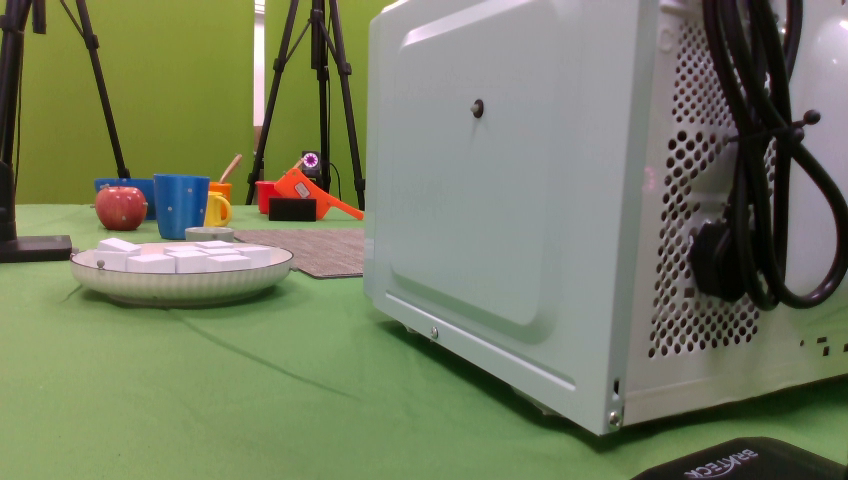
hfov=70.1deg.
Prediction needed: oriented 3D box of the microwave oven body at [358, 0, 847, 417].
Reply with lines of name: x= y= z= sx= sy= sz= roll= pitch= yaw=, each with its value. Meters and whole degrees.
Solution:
microwave oven body: x=0.211 y=-0.047 z=0.474 sx=0.444 sy=0.260 sz=0.324 roll=-1 pitch=7 yaw=-28

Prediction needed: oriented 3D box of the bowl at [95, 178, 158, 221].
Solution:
bowl: x=-0.576 y=-0.081 z=1.217 sx=0.151 sy=0.077 sz=0.151 roll=3 pitch=8 yaw=0

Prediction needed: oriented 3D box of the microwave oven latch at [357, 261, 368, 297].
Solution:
microwave oven latch: x=-0.019 y=0.033 z=0.530 sx=0.079 sy=0.029 sz=0.030 roll=-1 pitch=7 yaw=-27

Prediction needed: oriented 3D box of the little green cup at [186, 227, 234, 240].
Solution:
little green cup: x=-0.284 y=0.005 z=0.805 sx=0.061 sy=0.038 sz=0.061 roll=2 pitch=8 yaw=0

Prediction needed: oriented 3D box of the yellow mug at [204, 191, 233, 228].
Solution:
yellow mug: x=-0.415 y=-0.057 z=1.132 sx=0.130 sy=0.064 sz=0.100 roll=6 pitch=8 yaw=16

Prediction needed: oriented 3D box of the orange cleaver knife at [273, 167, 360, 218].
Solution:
orange cleaver knife: x=-0.238 y=-0.091 z=1.381 sx=0.212 sy=0.077 sz=0.012 roll=31 pitch=0 yaw=-19

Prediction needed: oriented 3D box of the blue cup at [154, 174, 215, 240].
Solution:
blue cup: x=-0.391 y=-0.053 z=0.978 sx=0.093 sy=0.100 sz=0.092 roll=4 pitch=6 yaw=0

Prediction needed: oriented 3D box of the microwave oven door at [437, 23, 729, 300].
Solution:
microwave oven door: x=0.181 y=-0.072 z=0.621 sx=0.358 sy=0.243 sz=0.039 roll=-2 pitch=8 yaw=-29

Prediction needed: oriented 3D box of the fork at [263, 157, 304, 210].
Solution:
fork: x=-0.345 y=-0.143 z=1.505 sx=0.028 sy=0.019 sz=0.207 roll=-4 pitch=46 yaw=29

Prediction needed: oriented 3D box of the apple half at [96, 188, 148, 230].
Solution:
apple half: x=-0.517 y=-0.052 z=1.036 sx=0.081 sy=0.074 sz=0.053 roll=2 pitch=10 yaw=-26

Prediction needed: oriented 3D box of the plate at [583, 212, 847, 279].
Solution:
plate: x=0.239 y=0.002 z=0.510 sx=0.209 sy=0.038 sz=0.209 roll=2 pitch=7 yaw=0

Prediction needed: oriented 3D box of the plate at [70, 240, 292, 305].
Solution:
plate: x=-0.242 y=0.031 z=0.618 sx=0.208 sy=0.039 sz=0.207 roll=2 pitch=8 yaw=0

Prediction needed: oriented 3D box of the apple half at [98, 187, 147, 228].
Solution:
apple half: x=-0.534 y=-0.059 z=1.071 sx=0.082 sy=0.081 sz=0.032 roll=-1 pitch=11 yaw=-25

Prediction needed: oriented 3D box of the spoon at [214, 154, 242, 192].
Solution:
spoon: x=-0.439 y=-0.124 z=1.318 sx=0.041 sy=0.193 sz=0.022 roll=5 pitch=-37 yaw=16
